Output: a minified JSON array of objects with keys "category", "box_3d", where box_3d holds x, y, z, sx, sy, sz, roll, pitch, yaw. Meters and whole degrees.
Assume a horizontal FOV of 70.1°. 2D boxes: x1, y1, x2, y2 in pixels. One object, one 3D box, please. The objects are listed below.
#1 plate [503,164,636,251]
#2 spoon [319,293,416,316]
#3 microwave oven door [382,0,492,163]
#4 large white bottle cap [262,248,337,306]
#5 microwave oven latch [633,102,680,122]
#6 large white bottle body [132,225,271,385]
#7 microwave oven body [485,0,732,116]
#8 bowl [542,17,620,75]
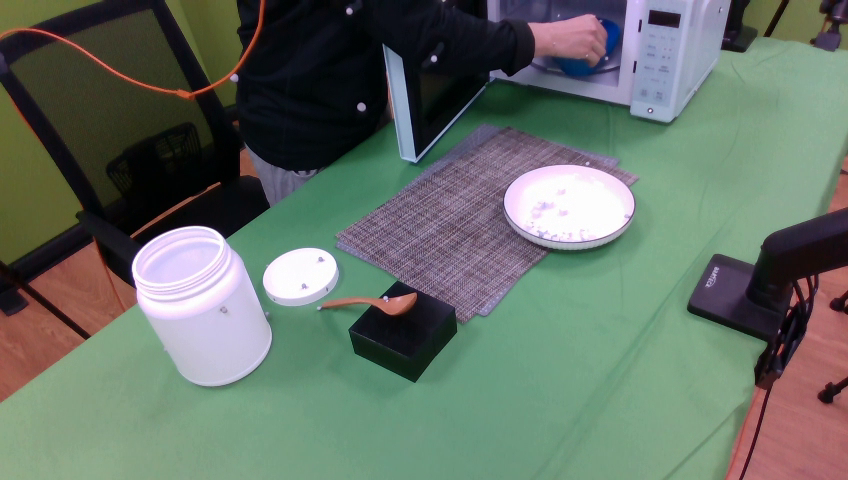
[{"category":"plate","box_3d":[0.231,-0.050,0.976,0.209,0.038,0.208,-3,41,3]},{"category":"spoon","box_3d":[-0.082,0.086,0.826,0.192,0.022,0.041,-3,37,41]},{"category":"microwave oven door","box_3d":[0.040,-0.347,1.173,0.039,0.245,0.356,15,45,25]},{"category":"large white bottle cap","box_3d":[-0.193,0.056,0.934,0.115,0.018,0.114,-4,41,4]},{"category":"microwave oven latch","box_3d":[0.443,-0.250,1.157,0.078,0.029,0.030,21,49,30]},{"category":"large white bottle body","box_3d":[-0.285,0.084,0.783,0.130,0.185,0.130,-4,41,4]},{"category":"microwave oven body","box_3d":[0.377,-0.463,1.267,0.438,0.261,0.327,21,49,30]},{"category":"bowl","box_3d":[0.313,-0.385,1.221,0.151,0.077,0.150,-3,40,3]}]
